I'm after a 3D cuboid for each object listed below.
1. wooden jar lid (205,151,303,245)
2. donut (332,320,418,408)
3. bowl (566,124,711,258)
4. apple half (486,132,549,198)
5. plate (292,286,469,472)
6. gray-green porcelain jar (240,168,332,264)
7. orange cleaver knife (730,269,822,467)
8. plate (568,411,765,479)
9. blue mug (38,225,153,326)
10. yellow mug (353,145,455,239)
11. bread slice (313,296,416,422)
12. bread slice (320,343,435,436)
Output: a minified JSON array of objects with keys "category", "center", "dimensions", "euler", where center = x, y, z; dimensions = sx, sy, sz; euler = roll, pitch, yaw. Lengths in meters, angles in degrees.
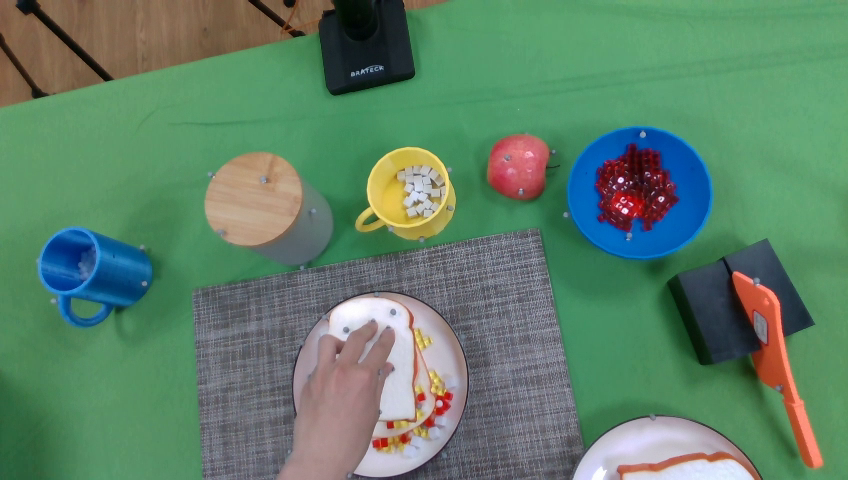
[{"category":"wooden jar lid","center":[-0.184,-0.044,0.663],"dimensions":[0.108,0.021,0.108],"euler":[-2,75,7]},{"category":"donut","center":[-0.055,0.139,0.683],"dimensions":[0.099,0.048,0.098],"euler":[-2,79,10]},{"category":"bowl","center":[0.236,-0.047,0.688],"dimensions":[0.151,0.077,0.150],"euler":[-2,78,9]},{"category":"apple half","center":[0.113,-0.096,0.732],"dimensions":[0.074,0.054,0.080],"euler":[12,80,14]},{"category":"plate","center":[-0.050,0.159,0.705],"dimensions":[0.207,0.039,0.206],"euler":[-2,78,8]},{"category":"gray-green porcelain jar","center":[-0.173,-0.030,0.725],"dimensions":[0.106,0.127,0.105],"euler":[-2,77,9]},{"category":"orange cleaver knife","center":[0.362,0.130,0.627],"dimensions":[0.012,0.077,0.212],"euler":[-21,97,-3]},{"category":"plate","center":[0.252,0.285,0.633],"dimensions":[0.209,0.038,0.208],"euler":[-2,78,9]},{"category":"blue mug","center":[-0.410,0.050,0.755],"dimensions":[0.082,0.106,0.116],"euler":[10,79,11]},{"category":"yellow mug","center":[-0.029,-0.049,0.737],"dimensions":[0.131,0.064,0.099],"euler":[-32,74,2]},{"category":"bread slice","center":[-0.061,0.122,0.635],"dimensions":[0.105,0.019,0.130],"euler":[0,70,2]},{"category":"bread slice","center":[-0.046,0.156,0.704],"dimensions":[0.107,0.018,0.133],"euler":[-28,78,3]}]
